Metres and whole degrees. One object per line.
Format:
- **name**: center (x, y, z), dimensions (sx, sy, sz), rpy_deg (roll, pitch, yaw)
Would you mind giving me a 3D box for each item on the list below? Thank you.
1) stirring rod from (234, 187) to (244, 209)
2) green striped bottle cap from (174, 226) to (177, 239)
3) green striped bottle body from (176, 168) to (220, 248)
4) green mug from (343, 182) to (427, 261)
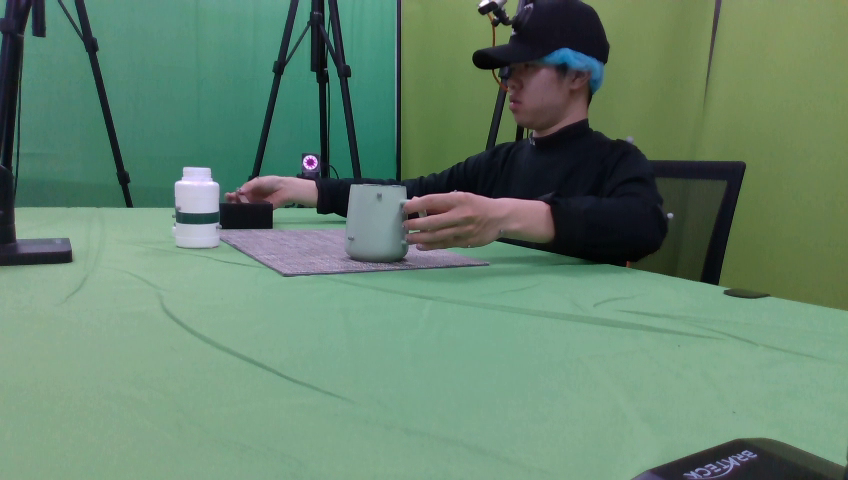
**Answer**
- **stirring rod**: center (-0.378, -0.087, 1.234), dimensions (0.014, 0.006, 0.175), rpy_deg (24, 8, -24)
- **green striped bottle cap**: center (-0.404, -0.015, 1.036), dimensions (0.044, 0.020, 0.044), rpy_deg (-1, 9, 0)
- **green striped bottle body**: center (-0.345, -0.050, 0.924), dimensions (0.063, 0.119, 0.063), rpy_deg (2, 7, 0)
- **green mug**: center (-0.053, -0.026, 0.847), dimensions (0.125, 0.105, 0.093), rpy_deg (6, 8, 27)
